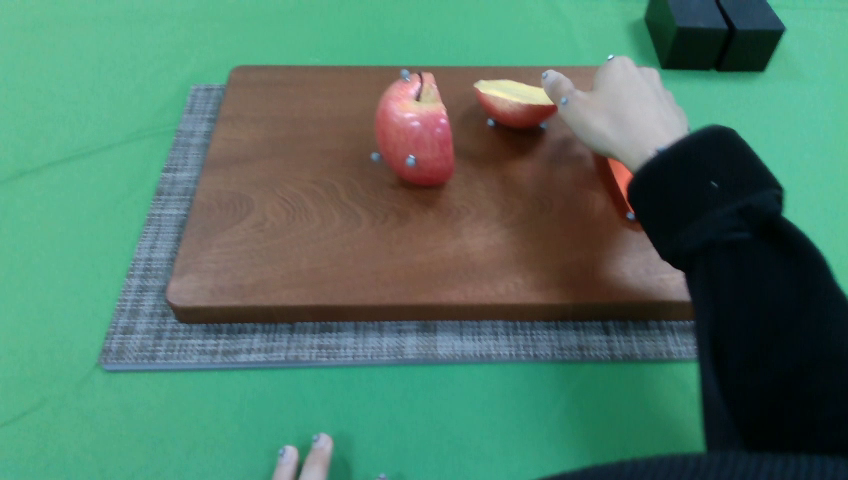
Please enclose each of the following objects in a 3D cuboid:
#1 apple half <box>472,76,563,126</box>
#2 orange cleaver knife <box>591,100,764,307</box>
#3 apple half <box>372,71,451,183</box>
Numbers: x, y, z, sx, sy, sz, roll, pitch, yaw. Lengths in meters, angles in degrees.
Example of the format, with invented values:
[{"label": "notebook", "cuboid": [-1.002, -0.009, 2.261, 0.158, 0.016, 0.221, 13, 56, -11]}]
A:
[{"label": "apple half", "cuboid": [0.074, -0.112, 0.509, 0.081, 0.033, 0.080, 7, 28, -3]}, {"label": "orange cleaver knife", "cuboid": [0.187, -0.039, 0.468, 0.077, 0.012, 0.209, -5, 54, -9]}, {"label": "apple half", "cuboid": [-0.012, -0.083, 0.464, 0.053, 0.075, 0.080, -12, 57, -5]}]
